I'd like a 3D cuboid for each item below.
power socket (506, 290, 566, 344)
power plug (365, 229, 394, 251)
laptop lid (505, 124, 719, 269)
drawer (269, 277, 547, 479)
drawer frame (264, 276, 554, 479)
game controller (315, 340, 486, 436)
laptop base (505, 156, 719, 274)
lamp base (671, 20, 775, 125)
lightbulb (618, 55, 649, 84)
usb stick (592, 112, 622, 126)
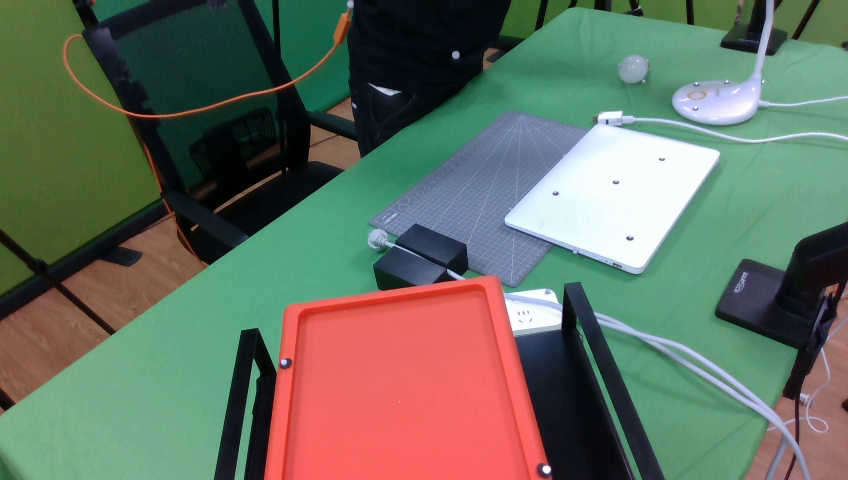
[{"bbox_3d":[0.081,0.112,0.822,0.227,0.033,0.072,-7,40,0],"label":"power socket"},{"bbox_3d":[-0.067,0.010,0.954,0.035,0.053,0.072,-41,52,1],"label":"power plug"},{"bbox_3d":[0.323,-0.093,1.021,0.240,0.013,0.358,23,49,32],"label":"laptop lid"},{"bbox_3d":[-0.018,0.137,0.493,0.195,0.073,0.210,-7,41,-1],"label":"drawer"},{"bbox_3d":[-0.016,0.137,0.490,0.202,0.083,0.212,-8,41,-2],"label":"drawer frame"},{"bbox_3d":[-0.021,0.119,0.534,0.155,0.052,0.096,-3,39,1],"label":"game controller"},{"bbox_3d":[0.326,-0.083,1.028,0.233,0.023,0.355,21,48,32],"label":"laptop base"},{"bbox_3d":[0.582,-0.332,1.154,0.179,0.181,0.160,2,41,7],"label":"lamp base"},{"bbox_3d":[0.464,-0.376,1.324,0.059,0.059,0.108,22,34,30],"label":"lightbulb"},{"bbox_3d":[0.360,-0.239,1.196,0.059,0.021,0.027,4,42,27],"label":"usb stick"}]
